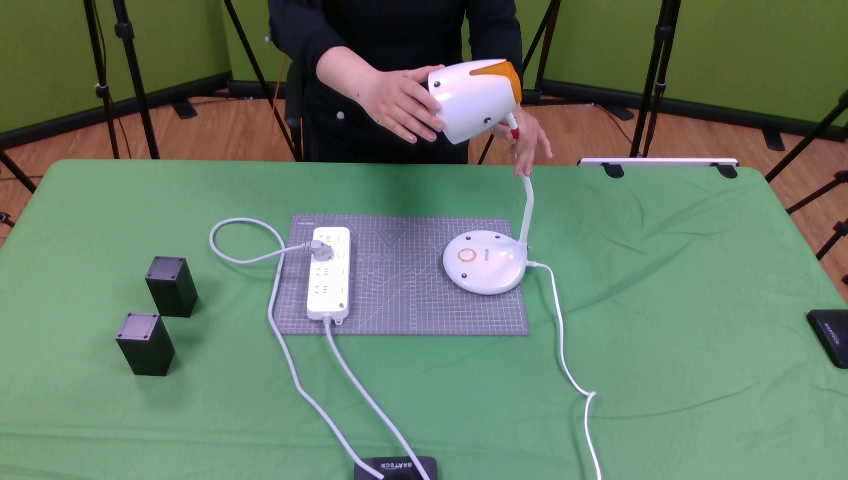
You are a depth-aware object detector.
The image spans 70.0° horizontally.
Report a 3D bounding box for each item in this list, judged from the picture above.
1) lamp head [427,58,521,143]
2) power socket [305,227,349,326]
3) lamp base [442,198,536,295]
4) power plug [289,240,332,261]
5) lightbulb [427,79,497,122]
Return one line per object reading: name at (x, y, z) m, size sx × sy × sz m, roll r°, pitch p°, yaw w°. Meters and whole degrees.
lamp head at (0.080, -0.209, 0.881) m, size 0.123 × 0.113 × 0.111 m, roll -14°, pitch 44°, yaw 14°
power socket at (-0.177, 0.058, 1.116) m, size 0.072 × 0.033 × 0.225 m, roll -1°, pitch 46°, yaw -4°
lamp base at (0.131, -0.013, 1.106) m, size 0.179 × 0.181 × 0.159 m, roll 1°, pitch 46°, yaw -8°
power plug at (-0.207, 0.022, 1.123) m, size 0.072 × 0.053 × 0.035 m, roll 6°, pitch 44°, yaw 6°
lightbulb at (0.055, -0.210, 0.887) m, size 0.107 × 0.060 × 0.059 m, roll -12°, pitch 40°, yaw 25°
